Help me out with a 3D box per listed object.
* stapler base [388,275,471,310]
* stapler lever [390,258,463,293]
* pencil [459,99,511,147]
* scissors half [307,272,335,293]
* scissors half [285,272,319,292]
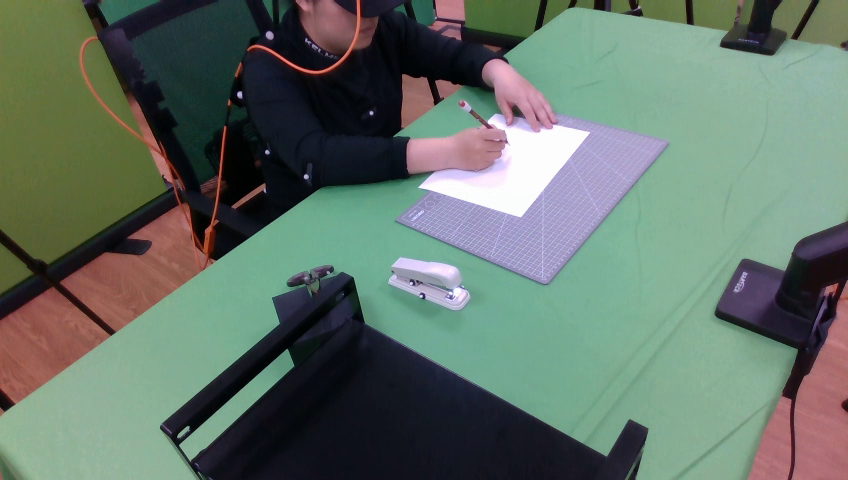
[{"bbox_3d":[0.007,0.066,0.897,0.129,0.024,0.041,17,43,29],"label":"stapler base"},{"bbox_3d":[0.003,0.046,0.881,0.117,0.040,0.027,17,43,29],"label":"stapler lever"},{"bbox_3d":[0.113,-0.204,1.075,0.012,0.196,0.012,-11,69,31],"label":"pencil"},{"bbox_3d":[-0.151,0.061,0.872,0.040,0.013,0.175,-2,5,-4],"label":"scissors half"},{"bbox_3d":[-0.171,0.063,0.868,0.040,0.013,0.174,-9,6,-21],"label":"scissors half"}]
